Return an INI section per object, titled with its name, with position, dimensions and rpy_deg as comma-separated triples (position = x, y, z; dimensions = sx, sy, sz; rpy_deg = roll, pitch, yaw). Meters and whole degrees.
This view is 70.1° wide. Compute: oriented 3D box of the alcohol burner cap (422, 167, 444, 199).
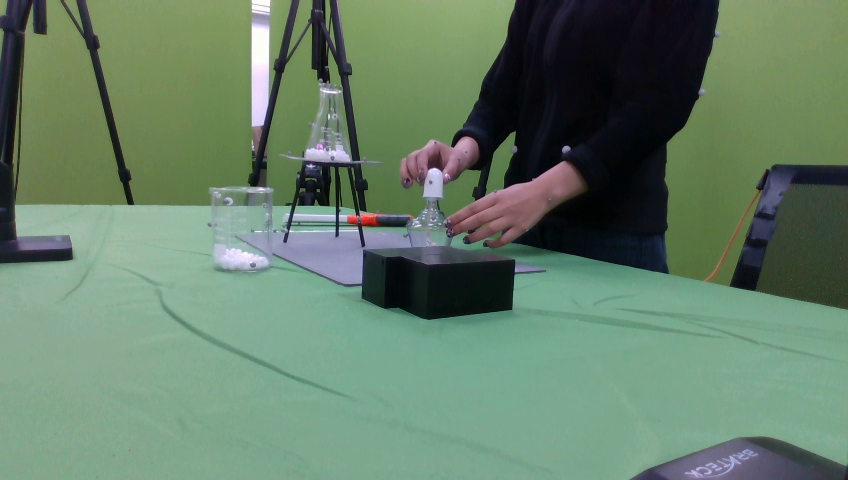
[alcohol burner cap]
position = 0.014, -0.086, 0.916
dimensions = 0.034, 0.048, 0.034
rpy_deg = 2, 2, 0

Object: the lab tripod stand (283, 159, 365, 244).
[lab tripod stand]
position = -0.151, -0.063, 0.983
dimensions = 0.148, 0.131, 0.148
rpy_deg = 4, 7, 0

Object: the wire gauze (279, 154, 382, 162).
[wire gauze]
position = -0.149, -0.128, 0.974
dimensions = 0.124, 0.011, 0.122
rpy_deg = 6, 6, 41

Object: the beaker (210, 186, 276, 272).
[beaker]
position = -0.224, -0.014, 0.738
dimensions = 0.084, 0.100, 0.074
rpy_deg = 4, 7, 16

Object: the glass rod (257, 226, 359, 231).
[glass rod]
position = -0.216, -0.022, 1.151
dimensions = 0.201, 0.008, 0.008
rpy_deg = -2, 8, -28

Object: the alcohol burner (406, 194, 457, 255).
[alcohol burner]
position = 0.012, -0.038, 0.919
dimensions = 0.078, 0.119, 0.078
rpy_deg = 3, 5, 0

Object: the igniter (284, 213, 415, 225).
[igniter]
position = -0.154, -0.045, 1.282
dimensions = 0.278, 0.025, 0.057
rpy_deg = 0, -3, -20

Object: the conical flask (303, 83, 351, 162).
[conical flask]
position = -0.151, -0.186, 0.963
dimensions = 0.075, 0.122, 0.075
rpy_deg = 4, 6, 0
